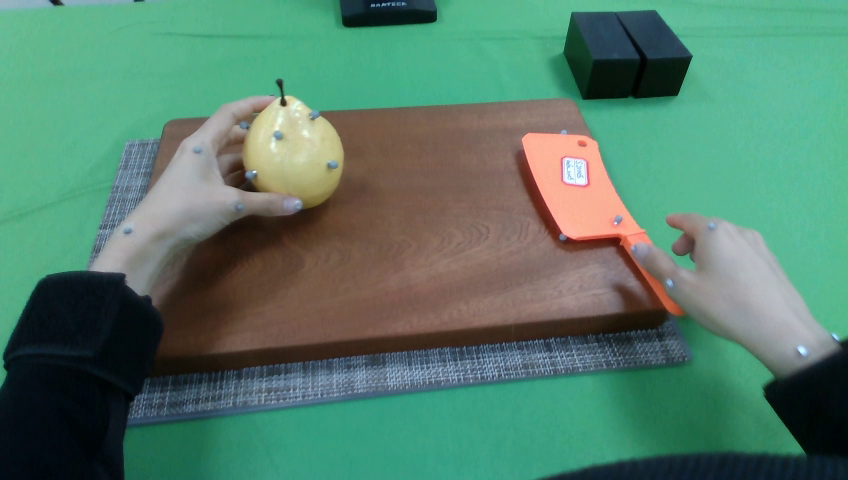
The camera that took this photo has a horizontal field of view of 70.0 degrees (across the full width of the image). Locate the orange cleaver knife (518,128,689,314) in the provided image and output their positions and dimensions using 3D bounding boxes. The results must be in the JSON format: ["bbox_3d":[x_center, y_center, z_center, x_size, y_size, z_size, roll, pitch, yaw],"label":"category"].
[{"bbox_3d":[0.139,-0.025,0.495,0.077,0.012,0.209,-9,52,-14],"label":"orange cleaver knife"}]

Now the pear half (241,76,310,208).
[{"bbox_3d":[-0.116,-0.081,0.473,0.056,0.111,0.076,10,43,6],"label":"pear half"}]

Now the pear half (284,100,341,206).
[{"bbox_3d":[-0.082,-0.066,0.475,0.031,0.089,0.070,9,44,7],"label":"pear half"}]
